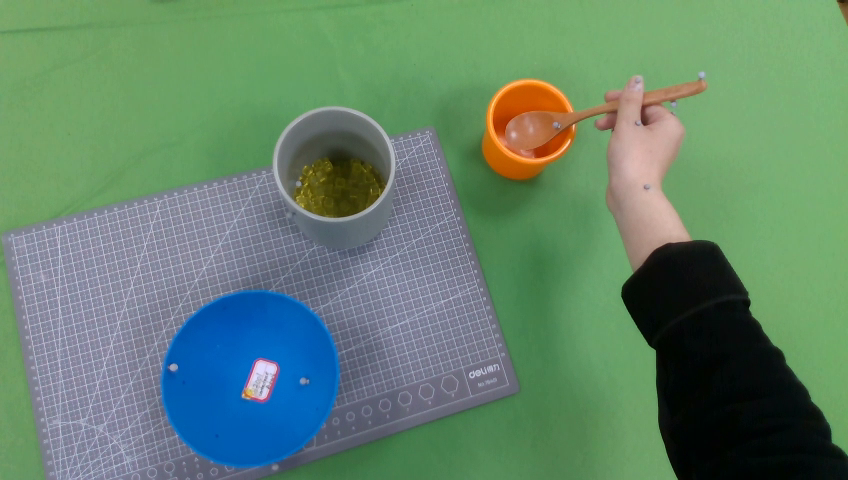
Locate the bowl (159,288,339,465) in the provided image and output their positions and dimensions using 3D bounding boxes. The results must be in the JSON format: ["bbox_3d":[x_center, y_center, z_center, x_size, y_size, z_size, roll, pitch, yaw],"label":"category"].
[{"bbox_3d":[-0.153,0.123,0.557,0.151,0.077,0.150,1,77,-6],"label":"bowl"}]

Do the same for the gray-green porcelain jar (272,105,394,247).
[{"bbox_3d":[-0.083,-0.053,0.577,0.106,0.127,0.105,1,77,-5],"label":"gray-green porcelain jar"}]

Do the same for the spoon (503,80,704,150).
[{"bbox_3d":[0.163,-0.122,0.578,0.193,0.022,0.041,-9,73,39],"label":"spoon"}]
